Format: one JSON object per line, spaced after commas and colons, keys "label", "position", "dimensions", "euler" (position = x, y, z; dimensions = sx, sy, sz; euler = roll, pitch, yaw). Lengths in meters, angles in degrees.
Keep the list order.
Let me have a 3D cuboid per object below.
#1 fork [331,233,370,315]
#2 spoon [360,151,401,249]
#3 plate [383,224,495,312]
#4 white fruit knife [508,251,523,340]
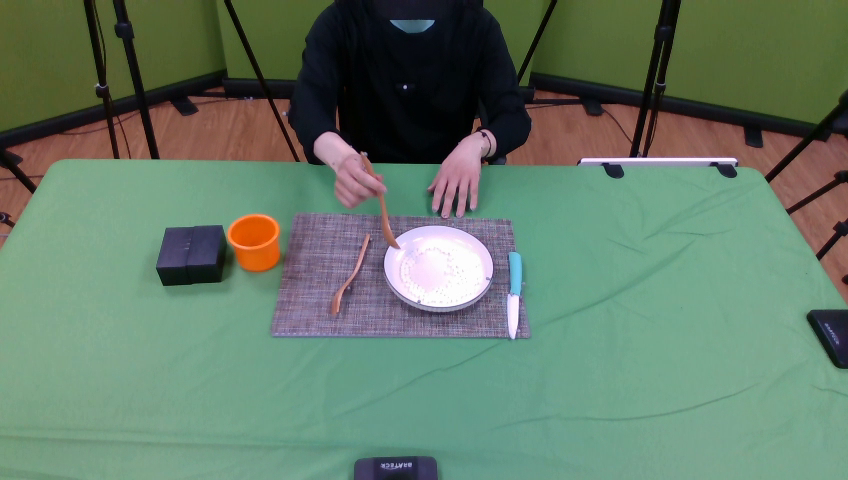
{"label": "fork", "position": [-0.133, 0.058, 1.127], "dimensions": [0.019, 0.028, 0.206], "euler": [36, 43, -13]}
{"label": "spoon", "position": [-0.077, -0.066, 1.059], "dimensions": [0.021, 0.194, 0.041], "euler": [-24, 24, -19]}
{"label": "plate", "position": [0.026, 0.055, 1.128], "dimensions": [0.209, 0.038, 0.208], "euler": [2, 46, -2]}
{"label": "white fruit knife", "position": [0.169, 0.098, 1.113], "dimensions": [0.027, 0.016, 0.206], "euler": [-13, 43, 23]}
